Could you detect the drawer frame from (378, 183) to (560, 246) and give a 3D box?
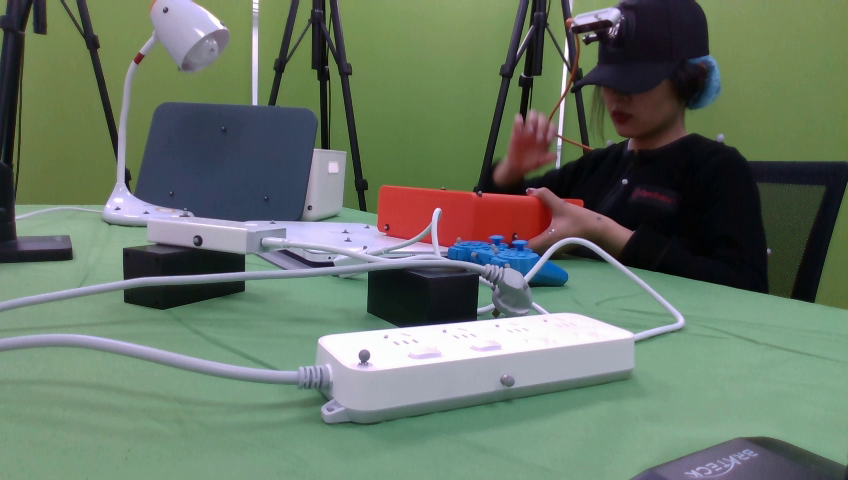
[{"bbox_3d":[0.072,-0.042,0.958,0.200,0.082,0.215,10,9,43],"label":"drawer frame"}]

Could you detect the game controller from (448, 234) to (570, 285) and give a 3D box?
[{"bbox_3d":[0.099,0.021,0.755,0.097,0.051,0.154,-7,10,-29],"label":"game controller"}]

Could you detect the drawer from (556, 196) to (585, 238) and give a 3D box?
[{"bbox_3d":[0.131,-0.042,1.018,0.213,0.073,0.193,-4,8,-44],"label":"drawer"}]

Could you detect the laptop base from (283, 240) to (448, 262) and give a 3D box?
[{"bbox_3d":[-0.125,0.002,0.945,0.237,0.023,0.352,1,6,-31],"label":"laptop base"}]

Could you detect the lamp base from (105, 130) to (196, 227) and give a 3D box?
[{"bbox_3d":[-0.532,-0.120,1.153,0.179,0.180,0.161,1,7,8],"label":"lamp base"}]

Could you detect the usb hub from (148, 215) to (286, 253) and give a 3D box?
[{"bbox_3d":[-0.197,-0.006,0.575,0.125,0.025,0.050,6,6,22],"label":"usb hub"}]

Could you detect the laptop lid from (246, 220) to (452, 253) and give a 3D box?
[{"bbox_3d":[-0.123,-0.009,0.945,0.243,0.013,0.355,1,7,-29],"label":"laptop lid"}]

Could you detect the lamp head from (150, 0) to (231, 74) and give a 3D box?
[{"bbox_3d":[-0.432,-0.374,1.086,0.123,0.112,0.112,42,8,-3],"label":"lamp head"}]

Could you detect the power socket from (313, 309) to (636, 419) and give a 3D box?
[{"bbox_3d":[0.039,0.072,0.384,0.228,0.032,0.072,-2,7,-28],"label":"power socket"}]

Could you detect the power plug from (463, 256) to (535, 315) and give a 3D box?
[{"bbox_3d":[0.064,0.039,0.530,0.072,0.052,0.035,31,43,7],"label":"power plug"}]

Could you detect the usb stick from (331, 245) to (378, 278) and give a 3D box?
[{"bbox_3d":[-0.085,0.026,0.701,0.059,0.027,0.021,-18,19,27],"label":"usb stick"}]

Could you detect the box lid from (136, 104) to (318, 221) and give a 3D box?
[{"bbox_3d":[-0.411,-0.162,1.266,0.371,0.263,0.015,3,-15,9],"label":"box lid"}]

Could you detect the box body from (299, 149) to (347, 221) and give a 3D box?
[{"bbox_3d":[-0.384,-0.137,1.407,0.364,0.160,0.254,3,8,7],"label":"box body"}]
